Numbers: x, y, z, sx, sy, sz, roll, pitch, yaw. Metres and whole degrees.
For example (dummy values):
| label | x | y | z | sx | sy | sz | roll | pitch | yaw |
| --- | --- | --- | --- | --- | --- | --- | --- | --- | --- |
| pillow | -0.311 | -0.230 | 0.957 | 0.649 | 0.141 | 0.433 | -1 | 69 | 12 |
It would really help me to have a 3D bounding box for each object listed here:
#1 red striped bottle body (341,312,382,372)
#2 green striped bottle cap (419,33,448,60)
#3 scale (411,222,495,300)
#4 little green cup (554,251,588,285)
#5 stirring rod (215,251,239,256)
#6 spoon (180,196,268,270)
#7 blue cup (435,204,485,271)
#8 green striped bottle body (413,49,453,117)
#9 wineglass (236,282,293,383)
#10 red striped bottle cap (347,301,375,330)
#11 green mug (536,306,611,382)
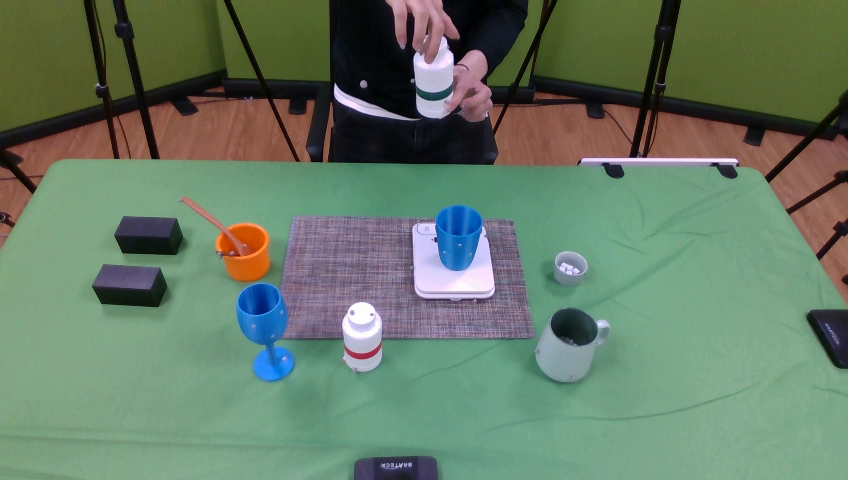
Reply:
| label | x | y | z | sx | sy | sz | roll | pitch | yaw |
| --- | --- | --- | --- | --- | --- | --- | --- | --- | --- |
| red striped bottle body | -0.100 | 0.154 | 0.972 | 0.063 | 0.120 | 0.062 | 2 | 46 | -1 |
| green striped bottle cap | 0.014 | -0.295 | 0.922 | 0.044 | 0.020 | 0.044 | -3 | 54 | 4 |
| scale | 0.052 | 0.031 | 1.158 | 0.149 | 0.032 | 0.199 | 1 | 46 | -4 |
| little green cup | 0.277 | 0.055 | 1.151 | 0.061 | 0.039 | 0.061 | 1 | 46 | -1 |
| stirring rod | -0.339 | 0.024 | 1.059 | 0.014 | 0.176 | 0.006 | 16 | 86 | -6 |
| spoon | -0.360 | -0.014 | 1.094 | 0.021 | 0.194 | 0.041 | -28 | 26 | 31 |
| blue cup | 0.061 | 0.001 | 1.097 | 0.092 | 0.101 | 0.092 | 1 | 44 | 0 |
| green striped bottle body | 0.015 | -0.261 | 0.964 | 0.063 | 0.120 | 0.063 | -1 | 51 | 2 |
| wineglass | -0.243 | 0.143 | 0.934 | 0.074 | 0.173 | 0.073 | 2 | 46 | -2 |
| red striped bottle cap | -0.097 | 0.116 | 0.934 | 0.044 | 0.018 | 0.044 | 3 | 49 | -3 |
| green mug | 0.250 | 0.167 | 0.996 | 0.125 | 0.105 | 0.092 | -15 | 48 | -18 |
